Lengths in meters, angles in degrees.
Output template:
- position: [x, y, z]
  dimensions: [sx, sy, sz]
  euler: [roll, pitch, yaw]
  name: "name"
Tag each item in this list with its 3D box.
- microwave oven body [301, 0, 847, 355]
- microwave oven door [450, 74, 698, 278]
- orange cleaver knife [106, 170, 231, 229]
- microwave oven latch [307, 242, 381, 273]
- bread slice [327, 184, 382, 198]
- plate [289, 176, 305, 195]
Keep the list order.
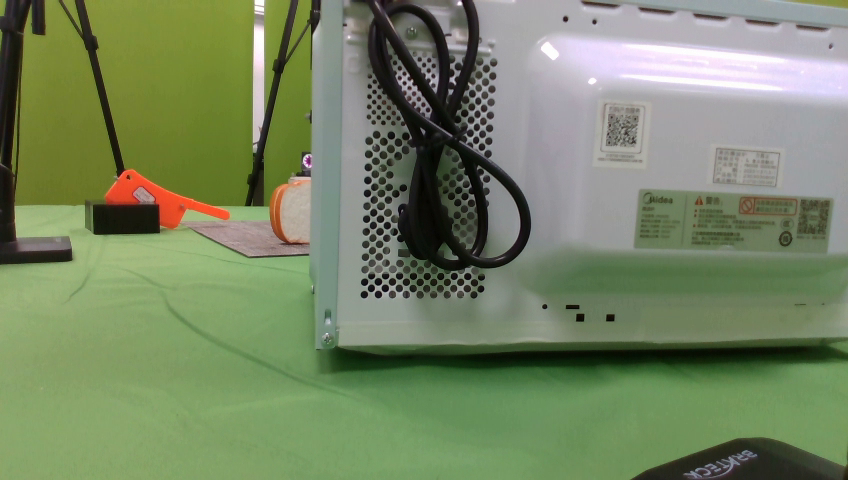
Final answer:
- position: [0.120, -0.053, 0.535]
  dimensions: [0.443, 0.260, 0.325]
  euler: [2, 7, -11]
  name: "microwave oven body"
- position: [0.183, -0.094, 0.836]
  dimensions: [0.354, 0.243, 0.039]
  euler: [10, 10, 44]
  name: "microwave oven door"
- position: [-0.458, -0.060, 1.097]
  dimensions: [0.212, 0.077, 0.012]
  euler: [23, -4, -38]
  name: "orange cleaver knife"
- position: [-0.086, 0.019, 0.656]
  dimensions: [0.079, 0.029, 0.030]
  euler: [2, 7, -10]
  name: "microwave oven latch"
- position: [-0.132, -0.096, 1.172]
  dimensions: [0.107, 0.018, 0.134]
  euler: [0, 9, -7]
  name: "bread slice"
- position: [-0.157, -0.097, 1.174]
  dimensions: [0.208, 0.039, 0.207]
  euler: [4, 8, 0]
  name: "plate"
